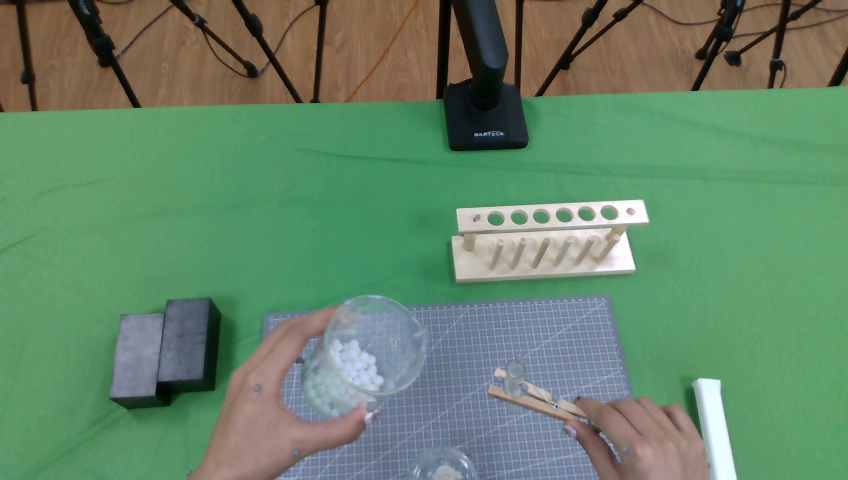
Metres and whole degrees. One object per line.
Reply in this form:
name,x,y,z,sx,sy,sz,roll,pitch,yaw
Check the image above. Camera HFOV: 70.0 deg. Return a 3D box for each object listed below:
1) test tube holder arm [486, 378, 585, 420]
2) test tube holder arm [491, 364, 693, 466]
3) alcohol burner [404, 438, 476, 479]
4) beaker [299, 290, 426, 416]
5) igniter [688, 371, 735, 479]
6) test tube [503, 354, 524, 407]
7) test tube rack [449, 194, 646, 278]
test tube holder arm,0.098,0.139,0.531,0.087,0.015,0.010,14,71,13
test tube holder arm,0.141,0.149,0.521,0.177,0.015,0.013,21,73,16
alcohol burner,0.018,0.245,0.637,0.078,0.120,0.077,2,60,-3
beaker,-0.051,0.091,0.467,0.084,0.100,0.073,-13,70,-30
igniter,0.337,0.286,0.686,0.057,0.025,0.274,8,62,-10
test tube,0.078,0.127,0.535,0.017,0.151,0.017,-3,64,6
test tube rack,0.159,-0.005,0.793,0.243,0.086,0.066,-3,63,-5
